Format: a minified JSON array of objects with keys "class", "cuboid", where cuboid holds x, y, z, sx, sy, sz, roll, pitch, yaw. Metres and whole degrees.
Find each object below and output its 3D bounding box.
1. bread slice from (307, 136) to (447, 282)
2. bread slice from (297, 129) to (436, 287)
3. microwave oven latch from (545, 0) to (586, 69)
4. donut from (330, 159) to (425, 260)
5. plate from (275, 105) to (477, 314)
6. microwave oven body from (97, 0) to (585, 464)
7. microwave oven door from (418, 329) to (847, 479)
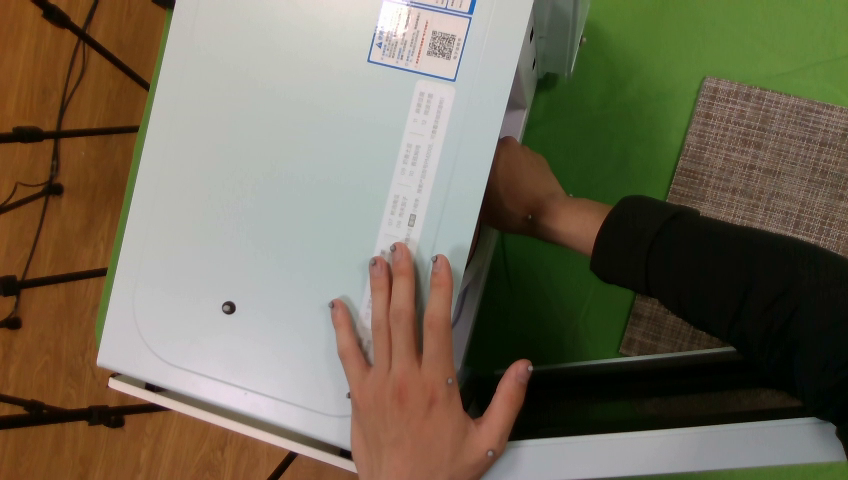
[{"class":"bread slice","cuboid":[-0.056,-0.037,0.609,0.107,0.018,0.134,-31,81,0]},{"class":"bread slice","cuboid":[-0.063,-0.033,0.561,0.105,0.019,0.131,-26,88,14]},{"class":"microwave oven latch","cuboid":[0.144,-0.218,0.618,0.030,0.029,0.079,15,95,10]},{"class":"donut","cuboid":[-0.046,-0.030,0.588,0.099,0.048,0.099,0,91,17]},{"class":"plate","cuboid":[-0.047,-0.030,0.616,0.207,0.039,0.207,0,92,11]},{"class":"microwave oven body","cuboid":[-0.059,-0.083,0.564,0.325,0.260,0.442,15,95,10]},{"class":"microwave oven door","cuboid":[0.191,0.133,0.516,0.355,0.244,0.039,-9,89,11]}]
